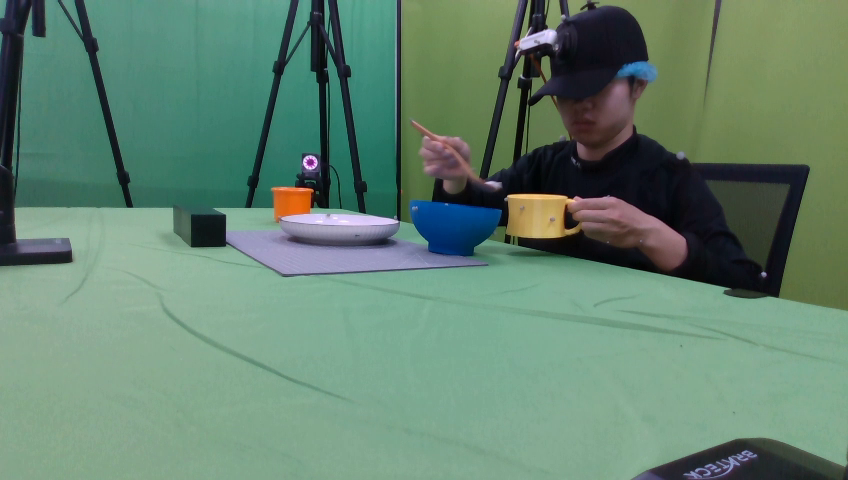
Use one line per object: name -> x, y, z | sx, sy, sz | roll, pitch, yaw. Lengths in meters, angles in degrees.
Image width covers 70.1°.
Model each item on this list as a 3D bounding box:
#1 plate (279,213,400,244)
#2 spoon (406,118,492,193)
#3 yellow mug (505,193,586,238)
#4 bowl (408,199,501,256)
plate -> -0.147, -0.020, 1.060 | 0.209, 0.038, 0.209 | 3, 7, 0
spoon -> 0.039, -0.140, 0.994 | 0.193, 0.021, 0.042 | 47, 5, 16
yellow mug -> 0.201, -0.042, 1.001 | 0.130, 0.064, 0.100 | 4, 9, 16
bowl -> 0.045, -0.019, 0.967 | 0.151, 0.077, 0.151 | 6, 5, 0
